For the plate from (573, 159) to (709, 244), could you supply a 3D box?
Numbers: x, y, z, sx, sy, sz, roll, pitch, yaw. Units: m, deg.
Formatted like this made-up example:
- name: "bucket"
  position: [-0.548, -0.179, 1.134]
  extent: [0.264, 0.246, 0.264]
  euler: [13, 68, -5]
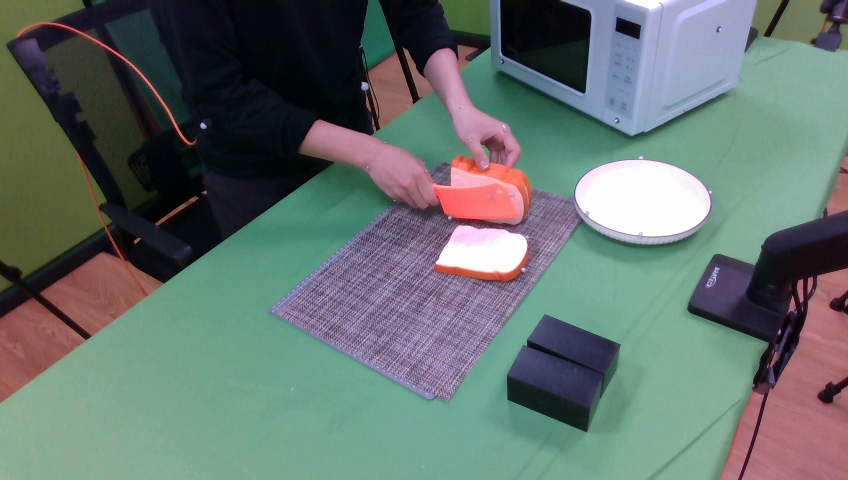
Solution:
- name: "plate"
  position: [0.347, -0.059, 0.979]
  extent: [0.207, 0.039, 0.206]
  euler: [-4, 41, 4]

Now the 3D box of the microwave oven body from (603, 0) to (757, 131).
- name: "microwave oven body"
  position: [0.396, -0.448, 1.248]
  extent: [0.327, 0.261, 0.437]
  euler: [-27, 44, -21]

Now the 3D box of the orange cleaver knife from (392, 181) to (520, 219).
- name: "orange cleaver knife"
  position: [0.048, -0.064, 0.960]
  extent: [0.210, 0.077, 0.012]
  euler: [5, 44, 26]

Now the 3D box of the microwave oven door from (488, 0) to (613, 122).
- name: "microwave oven door"
  position: [0.250, -0.412, 1.219]
  extent: [0.039, 0.245, 0.352]
  euler: [-27, 44, -21]

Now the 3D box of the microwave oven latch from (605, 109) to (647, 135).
- name: "microwave oven latch"
  position: [0.379, -0.225, 1.139]
  extent: [0.030, 0.029, 0.078]
  euler: [-26, 43, -19]

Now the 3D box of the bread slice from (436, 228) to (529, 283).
- name: "bread slice"
  position: [0.093, 0.025, 0.929]
  extent: [0.133, 0.018, 0.107]
  euler: [7, 47, 29]
